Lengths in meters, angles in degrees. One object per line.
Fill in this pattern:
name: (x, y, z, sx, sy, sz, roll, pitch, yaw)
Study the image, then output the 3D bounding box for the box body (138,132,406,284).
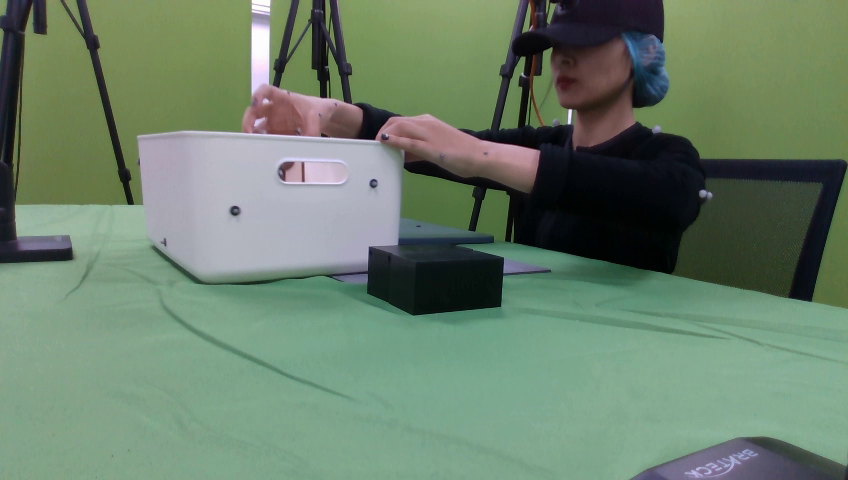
box body: (-0.218, -0.057, 0.809, 0.255, 0.160, 0.362, -3, 9, -33)

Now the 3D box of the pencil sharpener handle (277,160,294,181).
pencil sharpener handle: (-0.179, -0.085, 0.757, 0.036, 0.067, 0.030, 0, 18, -18)

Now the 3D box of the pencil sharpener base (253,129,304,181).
pencil sharpener base: (-0.194, -0.089, 0.807, 0.061, 0.107, 0.076, -2, 19, -18)

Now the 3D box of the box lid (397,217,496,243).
box lid: (-0.062, -0.021, 1.188, 0.265, 0.015, 0.369, -2, 8, -32)
